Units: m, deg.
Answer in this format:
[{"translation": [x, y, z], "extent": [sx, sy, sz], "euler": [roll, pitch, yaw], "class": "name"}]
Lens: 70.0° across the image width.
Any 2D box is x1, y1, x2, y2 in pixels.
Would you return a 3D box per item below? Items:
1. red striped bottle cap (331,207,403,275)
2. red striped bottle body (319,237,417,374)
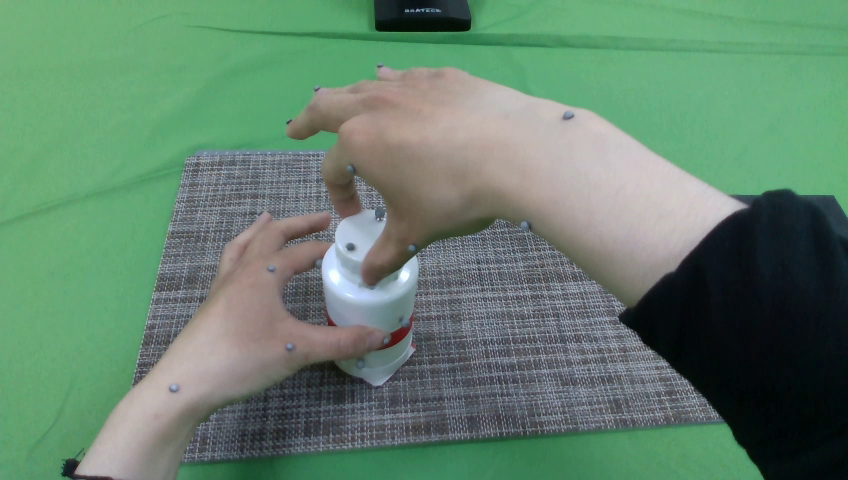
[{"translation": [-0.035, -0.001, 0.371], "extent": [0.044, 0.018, 0.044], "euler": [2, 47, -2], "class": "red striped bottle cap"}, {"translation": [-0.038, 0.036, 0.415], "extent": [0.063, 0.120, 0.062], "euler": [3, 49, -3], "class": "red striped bottle body"}]
